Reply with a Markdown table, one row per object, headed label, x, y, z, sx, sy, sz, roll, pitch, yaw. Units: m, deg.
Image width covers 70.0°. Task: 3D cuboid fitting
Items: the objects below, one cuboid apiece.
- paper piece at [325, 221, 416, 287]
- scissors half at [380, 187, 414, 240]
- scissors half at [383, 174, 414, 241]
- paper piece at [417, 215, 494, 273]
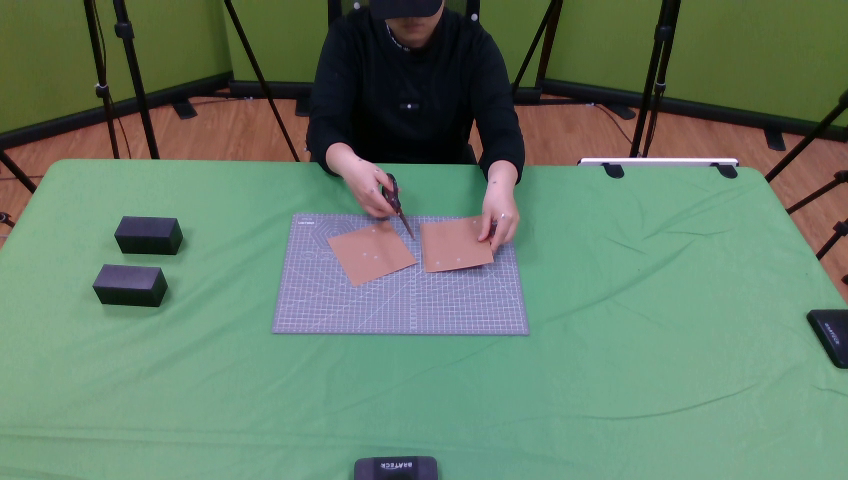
| label | x | y | z | sx | sy | sz | roll | pitch | yaw |
| --- | --- | --- | --- | --- | --- | --- | --- | --- | --- |
| paper piece | -0.105 | 0.022 | 1.174 | 0.135 | 0.004 | 0.135 | -19 | 50 | -20 |
| scissors half | -0.053 | -0.050 | 1.185 | 0.013 | 0.040 | 0.174 | -4 | 34 | -26 |
| scissors half | -0.049 | -0.066 | 1.172 | 0.013 | 0.040 | 0.174 | -8 | 54 | -23 |
| paper piece | 0.059 | 0.005 | 1.189 | 0.138 | 0.009 | 0.135 | -7 | 50 | 1 |
